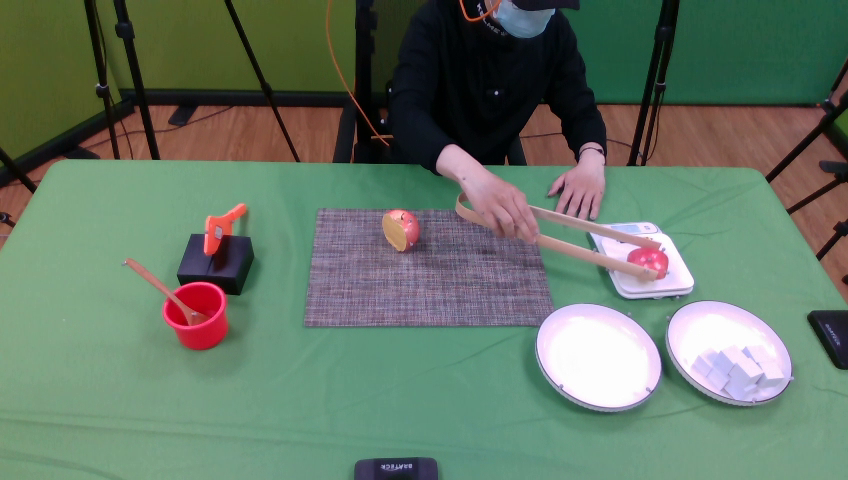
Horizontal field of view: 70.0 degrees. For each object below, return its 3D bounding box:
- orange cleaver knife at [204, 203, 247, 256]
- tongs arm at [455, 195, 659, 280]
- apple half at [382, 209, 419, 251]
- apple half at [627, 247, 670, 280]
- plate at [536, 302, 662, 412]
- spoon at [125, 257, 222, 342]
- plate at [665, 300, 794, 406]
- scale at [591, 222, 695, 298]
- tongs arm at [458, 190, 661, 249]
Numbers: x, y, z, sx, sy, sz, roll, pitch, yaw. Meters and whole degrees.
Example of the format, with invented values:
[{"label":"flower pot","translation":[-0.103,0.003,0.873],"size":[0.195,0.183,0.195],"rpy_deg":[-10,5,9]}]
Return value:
[{"label":"orange cleaver knife","translation":[-0.374,-0.024,1.146],"size":[0.012,0.077,0.211],"rpy_deg":[4,14,1]},{"label":"tongs arm","translation":[0.237,-0.007,1.113],"size":[0.384,0.026,0.050],"rpy_deg":[17,47,8]},{"label":"apple half","translation":[-0.039,-0.022,1.175],"size":[0.053,0.075,0.080],"rpy_deg":[-26,49,-31]},{"label":"apple half","translation":[0.409,0.033,1.099],"size":[0.081,0.033,0.081],"rpy_deg":[1,43,0]},{"label":"plate","translation":[0.288,0.197,1.016],"size":[0.209,0.038,0.208],"rpy_deg":[2,46,-2]},{"label":"spoon","translation":[-0.408,0.096,0.990],"size":[0.194,0.021,0.041],"rpy_deg":[50,54,-18]},{"label":"plate","translation":[0.513,0.194,1.034],"size":[0.208,0.039,0.206],"rpy_deg":[2,46,-2]},{"label":"scale","translation":[0.424,0.031,1.189],"size":[0.149,0.032,0.199],"rpy_deg":[-3,46,-7]},{"label":"tongs arm","translation":[0.251,-0.035,1.144],"size":[0.387,0.028,0.028],"rpy_deg":[16,50,6]}]
